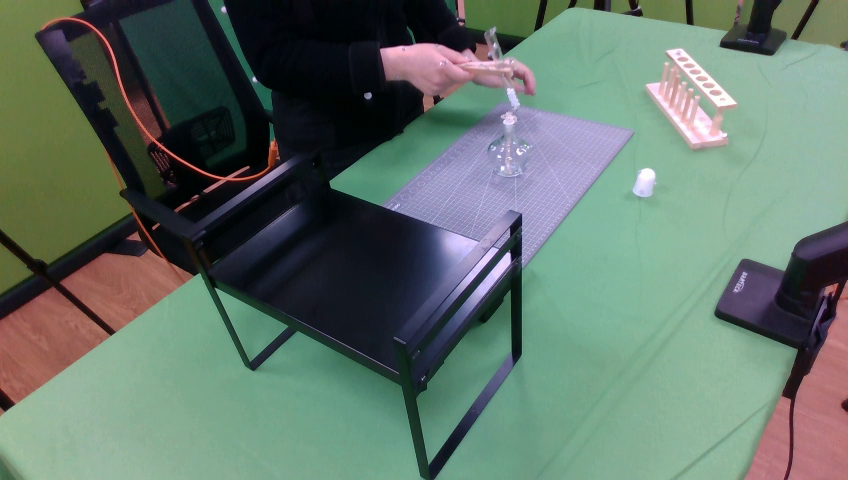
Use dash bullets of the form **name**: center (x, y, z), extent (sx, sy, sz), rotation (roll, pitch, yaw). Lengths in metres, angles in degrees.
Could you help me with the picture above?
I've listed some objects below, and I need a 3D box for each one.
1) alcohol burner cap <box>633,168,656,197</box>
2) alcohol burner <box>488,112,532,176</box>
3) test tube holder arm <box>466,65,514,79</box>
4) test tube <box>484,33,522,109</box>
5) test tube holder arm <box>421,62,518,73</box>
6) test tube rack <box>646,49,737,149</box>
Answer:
- **alcohol burner cap**: center (0.374, -0.099, 1.018), extent (0.034, 0.048, 0.033), rotation (-1, 42, 1)
- **alcohol burner**: center (0.154, -0.176, 1.083), extent (0.078, 0.119, 0.077), rotation (-3, 41, 3)
- **test tube holder arm**: center (0.105, -0.271, 0.971), extent (0.087, 0.015, 0.010), rotation (19, 66, 37)
- **test tube**: center (0.128, -0.266, 0.965), extent (0.017, 0.151, 0.017), rotation (-15, 50, 19)
- **test tube holder arm**: center (0.072, -0.284, 0.998), extent (0.177, 0.015, 0.013), rotation (11, 60, 33)
- **test tube rack**: center (0.511, -0.280, 1.175), extent (0.067, 0.085, 0.241), rotation (-8, 41, 1)
